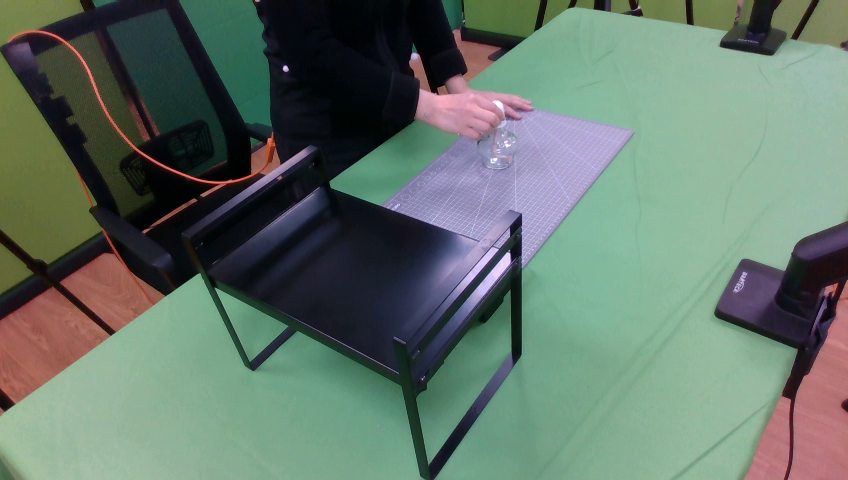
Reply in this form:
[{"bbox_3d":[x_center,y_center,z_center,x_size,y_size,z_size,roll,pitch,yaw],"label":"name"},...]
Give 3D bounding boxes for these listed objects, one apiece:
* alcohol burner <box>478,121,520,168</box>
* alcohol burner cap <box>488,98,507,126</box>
[{"bbox_3d":[0.137,-0.193,1.106,0.078,0.119,0.077,-5,39,4],"label":"alcohol burner"},{"bbox_3d":[0.131,-0.229,1.076,0.034,0.048,0.033,-4,48,5],"label":"alcohol burner cap"}]
